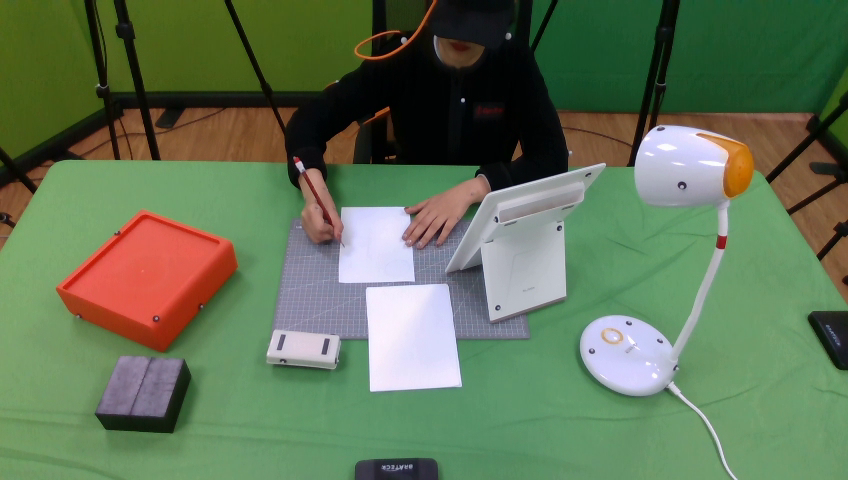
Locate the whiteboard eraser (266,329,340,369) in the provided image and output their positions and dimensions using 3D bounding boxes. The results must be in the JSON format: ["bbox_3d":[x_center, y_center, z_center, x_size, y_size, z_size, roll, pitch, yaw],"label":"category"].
[{"bbox_3d":[-0.198,0.181,0.994,0.113,0.042,0.055,5,45,1],"label":"whiteboard eraser"}]

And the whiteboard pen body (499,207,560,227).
[{"bbox_3d":[0.222,-0.051,1.259,0.141,0.017,0.017,-15,49,-16],"label":"whiteboard pen body"}]

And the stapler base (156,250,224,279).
[{"bbox_3d":[-0.431,0.040,1.111,0.130,0.024,0.041,11,38,17],"label":"stapler base"}]

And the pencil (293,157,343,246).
[{"bbox_3d":[-0.199,-0.070,1.155,0.012,0.194,0.012,-24,16,8],"label":"pencil"}]

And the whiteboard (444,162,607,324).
[{"bbox_3d":[0.186,0.025,1.029,0.217,0.306,0.143,-15,68,-18],"label":"whiteboard"}]

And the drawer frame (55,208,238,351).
[{"bbox_3d":[-0.474,0.062,1.060,0.201,0.083,0.213,18,48,12],"label":"drawer frame"}]

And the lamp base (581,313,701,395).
[{"bbox_3d":[0.361,0.144,0.973,0.178,0.181,0.160,34,53,23],"label":"lamp base"}]

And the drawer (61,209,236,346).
[{"bbox_3d":[-0.474,0.061,1.063,0.194,0.073,0.211,19,48,13],"label":"drawer"}]

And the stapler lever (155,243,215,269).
[{"bbox_3d":[-0.433,0.023,1.097,0.118,0.040,0.026,14,39,14],"label":"stapler lever"}]

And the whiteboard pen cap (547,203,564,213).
[{"bbox_3d":[0.277,-0.066,1.275,0.033,0.018,0.018,-18,50,-15],"label":"whiteboard pen cap"}]

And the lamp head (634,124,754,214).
[{"bbox_3d":[0.351,-0.089,0.776,0.112,0.113,0.122,-30,30,-28],"label":"lamp head"}]
